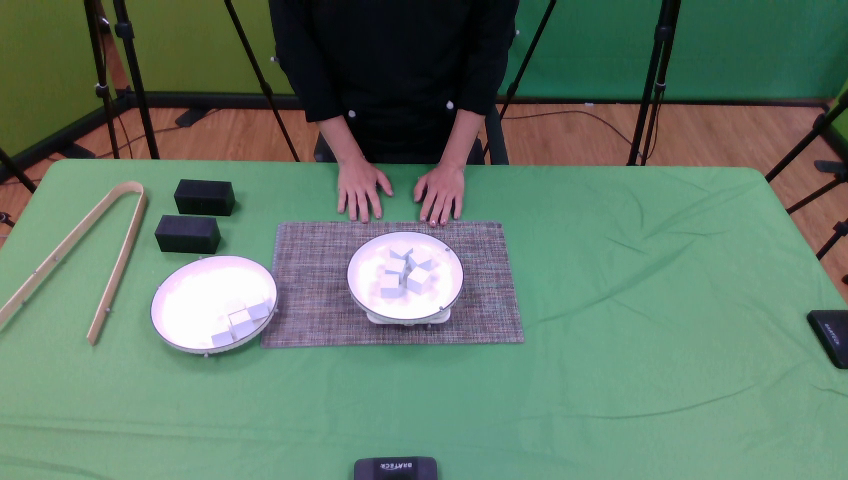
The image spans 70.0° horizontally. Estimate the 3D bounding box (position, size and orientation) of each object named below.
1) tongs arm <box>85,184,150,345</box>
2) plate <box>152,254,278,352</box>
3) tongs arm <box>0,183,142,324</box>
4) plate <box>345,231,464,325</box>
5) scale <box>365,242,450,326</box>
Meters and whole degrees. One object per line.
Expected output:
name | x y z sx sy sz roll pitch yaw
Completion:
tongs arm | -0.561 0.029 1.121 0.028 0.028 0.385 -3 46 -2
plate | -0.357 0.111 1.052 0.208 0.039 0.206 2 46 -2
tongs arm | -0.648 0.017 1.121 0.051 0.026 0.383 11 45 6
plate | -0.034 0.069 1.069 0.209 0.038 0.208 2 46 -2
scale | -0.032 0.071 1.113 0.149 0.032 0.199 0 46 -4
